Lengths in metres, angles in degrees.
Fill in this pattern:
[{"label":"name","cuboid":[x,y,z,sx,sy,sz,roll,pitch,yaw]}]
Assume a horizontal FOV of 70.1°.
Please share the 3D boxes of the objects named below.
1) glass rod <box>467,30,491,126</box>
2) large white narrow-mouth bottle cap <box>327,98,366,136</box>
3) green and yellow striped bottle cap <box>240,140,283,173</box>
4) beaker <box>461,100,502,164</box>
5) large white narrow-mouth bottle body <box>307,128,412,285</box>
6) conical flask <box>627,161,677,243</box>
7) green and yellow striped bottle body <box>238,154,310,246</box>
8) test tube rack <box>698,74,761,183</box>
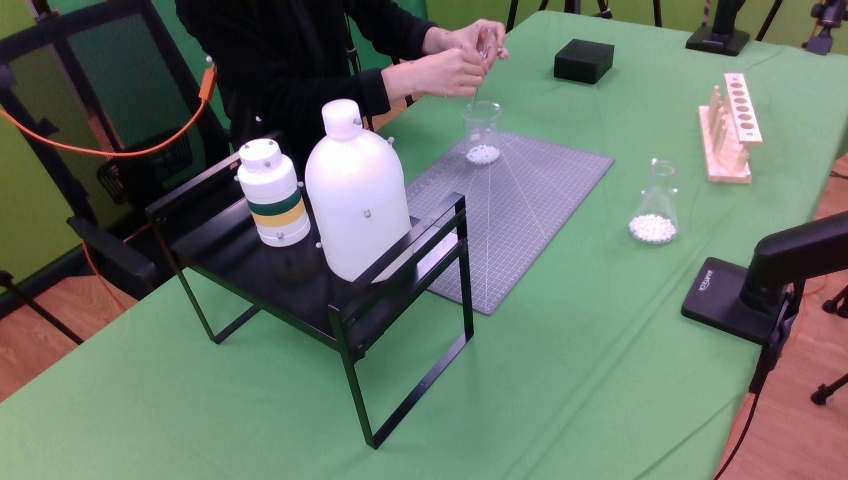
[{"label":"glass rod","cuboid":[0.096,-0.280,1.065,0.008,0.200,0.008,4,51,-5]},{"label":"large white narrow-mouth bottle cap","cuboid":[-0.075,-0.118,0.581,0.038,0.024,0.037,-3,40,3]},{"label":"green and yellow striped bottle cap","cuboid":[-0.183,-0.094,0.679,0.045,0.020,0.045,-4,38,4]},{"label":"beaker","cuboid":[0.111,-0.200,1.132,0.084,0.100,0.073,-27,45,-22]},{"label":"large white narrow-mouth bottle body","cuboid":[-0.070,-0.051,0.638,0.102,0.195,0.101,-3,40,3]},{"label":"conical flask","cuboid":[0.355,-0.061,0.921,0.075,0.122,0.075,-4,41,4]},{"label":"green and yellow striped bottle body","cuboid":[-0.178,-0.056,0.714,0.063,0.120,0.063,-4,40,4]},{"label":"test tube rack","cuboid":[0.547,-0.208,1.095,0.066,0.085,0.242,5,42,15]}]
